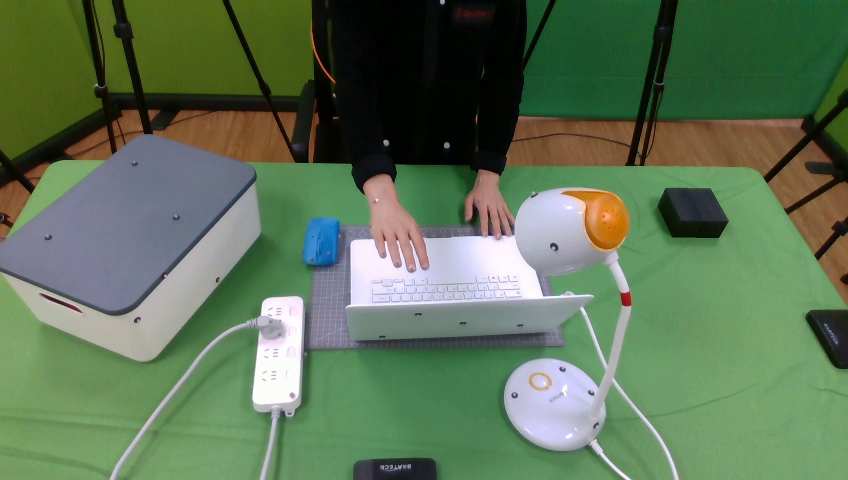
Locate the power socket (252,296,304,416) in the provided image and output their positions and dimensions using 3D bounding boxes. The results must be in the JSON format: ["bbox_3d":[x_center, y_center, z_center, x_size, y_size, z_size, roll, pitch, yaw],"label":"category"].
[{"bbox_3d":[-0.237,0.182,0.997,0.072,0.033,0.225,-3,47,-5],"label":"power socket"}]

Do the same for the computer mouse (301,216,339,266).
[{"bbox_3d":[-0.200,-0.002,1.169,0.063,0.041,0.116,3,50,-3],"label":"computer mouse"}]

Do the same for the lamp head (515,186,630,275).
[{"bbox_3d":[0.188,-0.013,0.728,0.112,0.112,0.122,-25,9,-25],"label":"lamp head"}]

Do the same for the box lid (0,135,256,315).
[{"bbox_3d":[-0.480,-0.044,1.002,0.263,0.015,0.370,18,47,12],"label":"box lid"}]

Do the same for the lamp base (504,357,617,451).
[{"bbox_3d":[0.220,0.211,0.902,0.160,0.181,0.178,-33,59,-30],"label":"lamp base"}]

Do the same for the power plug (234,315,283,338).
[{"bbox_3d":[-0.269,0.144,1.000,0.072,0.053,0.035,4,47,2],"label":"power plug"}]

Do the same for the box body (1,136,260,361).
[{"bbox_3d":[-0.482,0.006,1.056,0.254,0.161,0.362,17,47,12],"label":"box body"}]

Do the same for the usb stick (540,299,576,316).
[{"bbox_3d":[0.239,0.121,1.083,0.059,0.027,0.021,-1,51,-2],"label":"usb stick"}]

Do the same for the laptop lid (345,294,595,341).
[{"bbox_3d":[0.059,0.124,0.934,0.357,0.242,0.013,-1,69,-7],"label":"laptop lid"}]

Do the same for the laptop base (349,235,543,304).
[{"bbox_3d":[0.039,0.081,1.124,0.355,0.023,0.234,-2,43,-6],"label":"laptop base"}]

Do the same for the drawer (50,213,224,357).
[{"bbox_3d":[-0.492,0.075,1.057,0.194,0.073,0.211,18,57,10],"label":"drawer"}]
